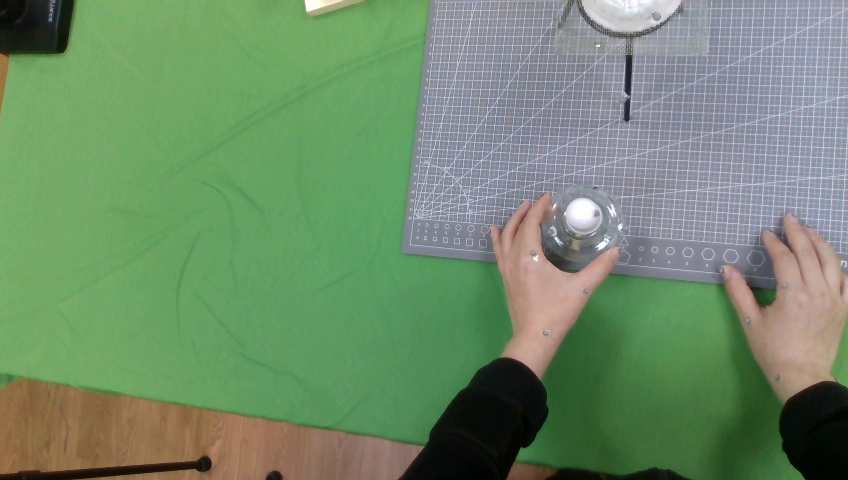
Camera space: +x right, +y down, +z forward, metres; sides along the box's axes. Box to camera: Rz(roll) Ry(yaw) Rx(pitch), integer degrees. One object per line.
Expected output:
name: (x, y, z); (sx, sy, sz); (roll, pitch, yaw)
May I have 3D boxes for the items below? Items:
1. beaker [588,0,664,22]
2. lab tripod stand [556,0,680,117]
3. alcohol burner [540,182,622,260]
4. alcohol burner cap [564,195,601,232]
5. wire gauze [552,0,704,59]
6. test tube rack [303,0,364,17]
beaker: (0.157, -0.221, 0.466); (0.083, 0.101, 0.074); (19, 89, 16)
lab tripod stand: (0.190, -0.206, 0.575); (0.148, 0.132, 0.148); (-1, 85, 13)
alcohol burner: (0.150, -0.020, 0.575); (0.078, 0.119, 0.077); (-1, 84, 12)
alcohol burner cap: (0.140, -0.025, 0.540); (0.034, 0.048, 0.034); (-1, 86, 17)
wire gauze: (0.174, -0.215, 0.511); (0.125, 0.011, 0.121); (5, 89, 12)
test tube rack: (-0.041, -0.332, 0.675); (0.242, 0.085, 0.066); (-12, 81, 13)
